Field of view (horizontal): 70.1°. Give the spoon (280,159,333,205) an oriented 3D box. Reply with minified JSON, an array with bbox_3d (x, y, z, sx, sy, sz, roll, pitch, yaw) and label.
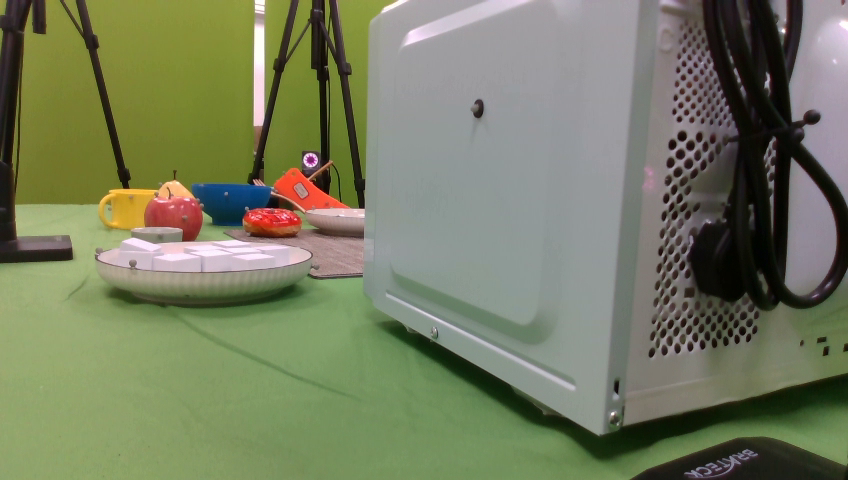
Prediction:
[{"bbox_3d":[-0.316,-0.158,1.639,0.194,0.022,0.041,-49,32,-20],"label":"spoon"}]

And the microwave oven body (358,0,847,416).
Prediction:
[{"bbox_3d":[0.211,-0.047,0.475,0.444,0.260,0.324,-1,8,-28],"label":"microwave oven body"}]

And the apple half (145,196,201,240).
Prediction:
[{"bbox_3d":[-0.377,-0.027,0.891,0.080,0.074,0.053,8,12,18],"label":"apple half"}]

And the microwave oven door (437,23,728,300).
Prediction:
[{"bbox_3d":[0.181,-0.072,0.621,0.358,0.243,0.039,-2,8,-29],"label":"microwave oven door"}]

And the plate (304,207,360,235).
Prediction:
[{"bbox_3d":[-0.123,-0.037,1.149,0.209,0.038,0.209,2,7,0],"label":"plate"}]

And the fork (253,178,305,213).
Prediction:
[{"bbox_3d":[-0.294,-0.084,1.293,0.206,0.018,0.028,29,13,26],"label":"fork"}]

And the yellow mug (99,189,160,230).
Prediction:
[{"bbox_3d":[-0.518,-0.055,1.080,0.099,0.064,0.131,7,10,26],"label":"yellow mug"}]

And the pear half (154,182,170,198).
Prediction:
[{"bbox_3d":[-0.436,-0.053,1.006,0.031,0.088,0.070,3,12,0],"label":"pear half"}]

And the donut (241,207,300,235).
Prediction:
[{"bbox_3d":[-0.263,-0.032,1.039,0.099,0.048,0.099,4,9,0],"label":"donut"}]

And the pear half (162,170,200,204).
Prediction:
[{"bbox_3d":[-0.399,-0.061,1.002,0.056,0.110,0.076,2,11,1],"label":"pear half"}]

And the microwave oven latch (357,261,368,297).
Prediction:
[{"bbox_3d":[-0.019,0.033,0.531,0.079,0.029,0.030,-1,7,-27],"label":"microwave oven latch"}]

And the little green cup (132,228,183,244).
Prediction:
[{"bbox_3d":[-0.342,0.006,0.779,0.061,0.038,0.061,2,8,0],"label":"little green cup"}]

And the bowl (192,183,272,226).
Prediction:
[{"bbox_3d":[-0.381,-0.071,1.202,0.151,0.077,0.151,3,7,0],"label":"bowl"}]

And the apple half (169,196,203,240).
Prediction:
[{"bbox_3d":[-0.365,-0.033,0.928,0.081,0.081,0.033,5,12,18],"label":"apple half"}]

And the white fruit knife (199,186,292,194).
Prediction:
[{"bbox_3d":[-0.399,-0.111,1.368,0.208,0.016,0.027,-4,-19,-29],"label":"white fruit knife"}]

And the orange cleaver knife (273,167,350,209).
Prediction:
[{"bbox_3d":[-0.237,-0.087,1.358,0.211,0.077,0.012,32,4,-3],"label":"orange cleaver knife"}]

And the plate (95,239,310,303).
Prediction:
[{"bbox_3d":[-0.224,0.031,0.629,0.208,0.039,0.207,2,7,0],"label":"plate"}]
